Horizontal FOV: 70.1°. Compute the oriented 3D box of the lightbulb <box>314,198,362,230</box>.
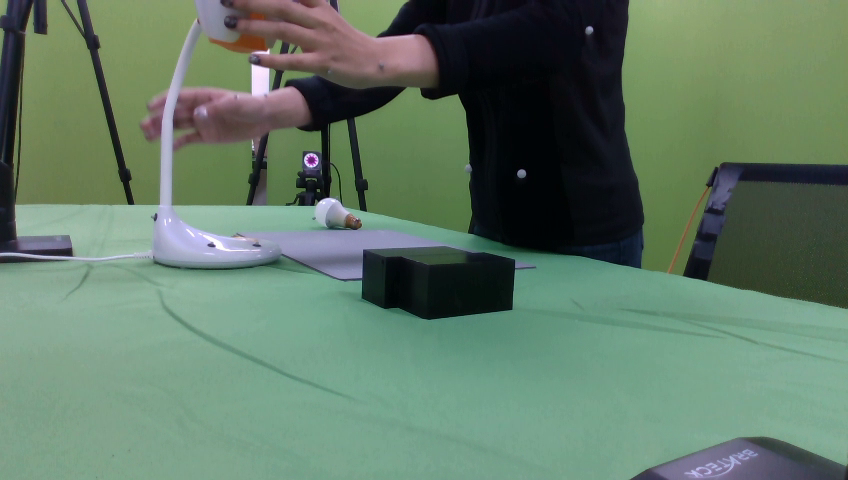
[{"bbox_3d":[-0.172,-0.047,1.219,0.107,0.059,0.060,23,15,22],"label":"lightbulb"}]

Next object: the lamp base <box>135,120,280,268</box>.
[{"bbox_3d":[-0.276,-0.061,0.773,0.180,0.180,0.160,-9,13,-44],"label":"lamp base"}]

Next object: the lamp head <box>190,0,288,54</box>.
[{"bbox_3d":[-0.188,-0.252,0.607,0.112,0.123,0.112,11,20,-4],"label":"lamp head"}]
